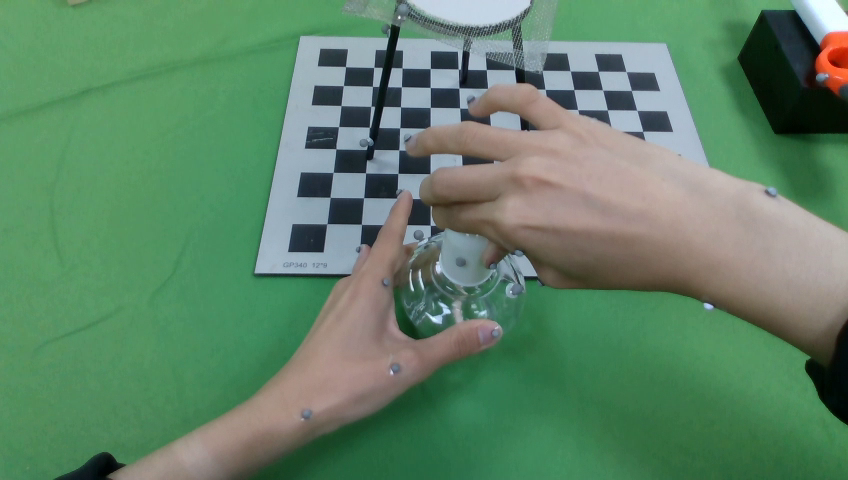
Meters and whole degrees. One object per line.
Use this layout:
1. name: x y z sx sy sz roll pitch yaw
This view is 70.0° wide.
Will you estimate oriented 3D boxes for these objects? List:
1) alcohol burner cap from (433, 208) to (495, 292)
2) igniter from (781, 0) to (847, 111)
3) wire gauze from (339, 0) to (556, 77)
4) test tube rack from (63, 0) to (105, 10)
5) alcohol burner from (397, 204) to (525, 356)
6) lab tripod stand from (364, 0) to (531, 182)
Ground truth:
1. alcohol burner cap: 0.022 0.003 0.327 0.034 0.048 0.033 1 56 -2
2. igniter: 0.329 -0.150 0.481 0.057 0.025 0.274 -1 53 2
3. wire gauze: 0.024 -0.156 0.382 0.125 0.011 0.120 16 55 8
4. test tube rack: -0.260 -0.322 0.607 0.242 0.086 0.066 -28 60 -20
5. alcohol burner: 0.023 0.021 0.353 0.078 0.120 0.077 1 56 -1
6. lab tripod stand: 0.026 -0.119 0.438 0.148 0.132 0.147 2 54 -2
